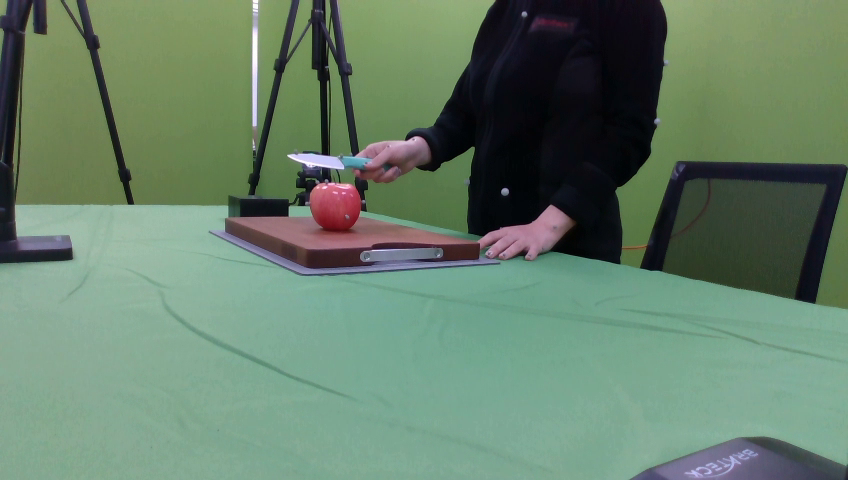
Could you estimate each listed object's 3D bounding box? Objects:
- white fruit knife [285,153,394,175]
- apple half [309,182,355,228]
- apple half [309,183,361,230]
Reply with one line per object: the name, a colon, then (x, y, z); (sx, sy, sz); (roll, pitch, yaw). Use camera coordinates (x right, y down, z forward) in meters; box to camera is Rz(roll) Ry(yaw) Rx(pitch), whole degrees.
white fruit knife: (-0.139, -0.132, 1.024); (0.208, 0.027, 0.016); (2, -24, -40)
apple half: (-0.153, -0.058, 0.979); (0.082, 0.081, 0.032); (-2, 10, -27)
apple half: (-0.135, -0.052, 0.945); (0.081, 0.074, 0.053); (3, 11, -29)
